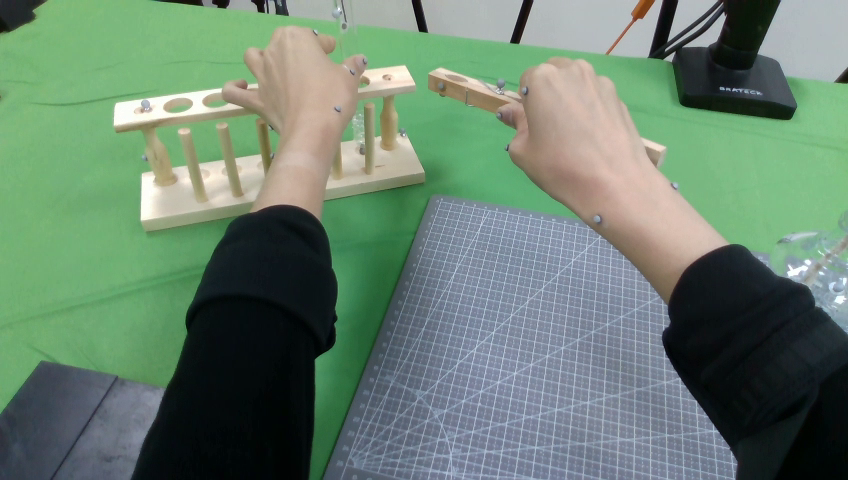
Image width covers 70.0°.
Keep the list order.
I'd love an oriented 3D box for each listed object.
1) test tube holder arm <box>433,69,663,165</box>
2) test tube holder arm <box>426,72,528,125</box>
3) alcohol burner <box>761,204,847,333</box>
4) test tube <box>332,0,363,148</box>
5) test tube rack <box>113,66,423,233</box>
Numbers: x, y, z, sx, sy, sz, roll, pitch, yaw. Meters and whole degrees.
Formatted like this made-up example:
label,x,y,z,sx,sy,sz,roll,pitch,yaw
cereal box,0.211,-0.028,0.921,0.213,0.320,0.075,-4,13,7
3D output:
label,x,y,z,sx,sy,sz,roll,pitch,yaw
test tube holder arm,0.077,-0.088,0.416,0.177,0.015,0.013,26,49,27
test tube holder arm,0.038,-0.102,0.434,0.087,0.015,0.010,26,50,28
alcohol burner,0.289,0.010,0.426,0.078,0.120,0.077,2,44,-1
test tube,-0.063,-0.144,0.518,0.017,0.151,0.017,-1,43,1
test tube rack,-0.125,-0.081,0.524,0.243,0.086,0.066,-12,47,-13
